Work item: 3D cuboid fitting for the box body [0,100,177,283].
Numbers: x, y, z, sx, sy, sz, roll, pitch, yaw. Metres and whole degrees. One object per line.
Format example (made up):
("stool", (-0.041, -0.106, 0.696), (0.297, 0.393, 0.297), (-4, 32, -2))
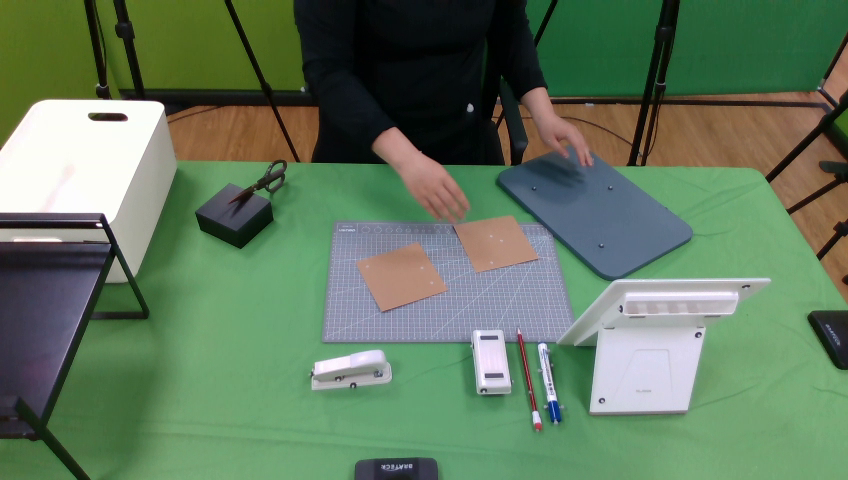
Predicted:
("box body", (-0.639, -0.095, 1.140), (0.254, 0.161, 0.361), (1, 46, -4))

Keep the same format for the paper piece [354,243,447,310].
("paper piece", (-0.045, 0.066, 1.137), (0.136, 0.009, 0.137), (-14, 47, -22))

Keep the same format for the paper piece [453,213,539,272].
("paper piece", (0.142, 0.002, 1.212), (0.135, 0.004, 0.135), (-11, 48, -14))

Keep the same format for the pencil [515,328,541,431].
("pencil", (0.169, 0.224, 1.002), (0.012, 0.012, 0.192), (-1, 46, -6))

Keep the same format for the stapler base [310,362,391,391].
("stapler base", (-0.119, 0.215, 0.980), (0.131, 0.024, 0.041), (-5, 44, -7))

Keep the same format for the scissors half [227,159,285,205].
("scissors half", (-0.336, -0.117, 1.218), (0.013, 0.040, 0.175), (26, 47, 13))

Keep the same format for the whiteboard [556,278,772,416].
("whiteboard", (0.347, 0.174, 0.903), (0.217, 0.306, 0.143), (1, 65, -4))

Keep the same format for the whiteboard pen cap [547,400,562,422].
("whiteboard pen cap", (0.205, 0.269, 0.956), (0.018, 0.018, 0.033), (0, 47, -5))

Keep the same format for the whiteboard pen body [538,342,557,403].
("whiteboard pen body", (0.205, 0.228, 0.997), (0.017, 0.017, 0.140), (1, 46, -3))

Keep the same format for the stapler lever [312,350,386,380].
("stapler lever", (-0.120, 0.198, 0.963), (0.118, 0.040, 0.026), (-4, 44, -8))

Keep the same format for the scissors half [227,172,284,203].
("scissors half", (-0.340, -0.101, 1.231), (0.013, 0.040, 0.175), (22, 29, 17))

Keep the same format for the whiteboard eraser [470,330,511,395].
("whiteboard eraser", (0.110, 0.202, 0.998), (0.055, 0.042, 0.112), (1, 46, -5))

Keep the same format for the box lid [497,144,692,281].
("box lid", (0.360, -0.074, 1.305), (0.263, 0.015, 0.369), (-24, 52, -25))
